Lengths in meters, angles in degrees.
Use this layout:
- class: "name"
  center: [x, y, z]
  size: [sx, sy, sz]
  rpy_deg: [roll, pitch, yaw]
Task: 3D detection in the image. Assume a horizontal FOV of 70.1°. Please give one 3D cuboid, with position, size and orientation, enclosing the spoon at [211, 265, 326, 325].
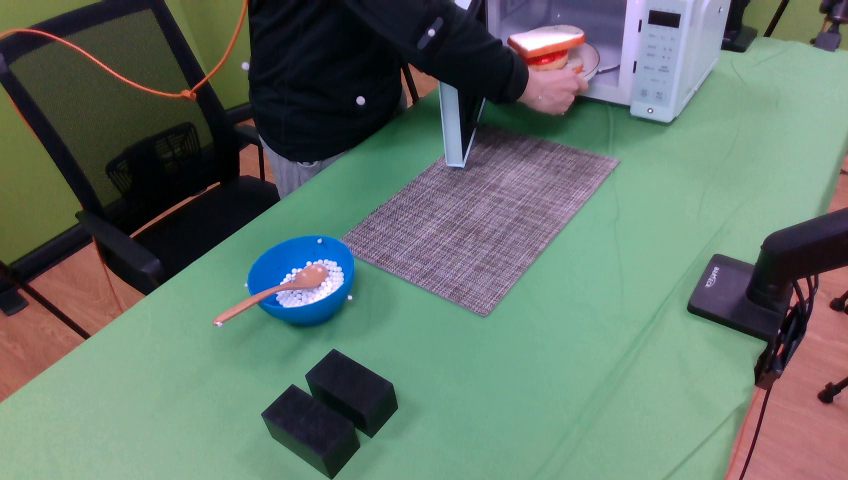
- class: "spoon"
  center: [-0.208, 0.072, 0.822]
  size: [0.041, 0.021, 0.195]
  rpy_deg: [28, 29, 26]

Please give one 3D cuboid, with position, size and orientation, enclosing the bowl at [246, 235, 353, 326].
- class: "bowl"
  center: [-0.170, 0.070, 0.868]
  size: [0.151, 0.077, 0.150]
  rpy_deg: [-4, 41, 4]

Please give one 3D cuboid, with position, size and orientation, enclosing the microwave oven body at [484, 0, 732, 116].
- class: "microwave oven body"
  center: [0.377, -0.463, 1.267]
  size: [0.438, 0.261, 0.327]
  rpy_deg: [21, 49, 30]

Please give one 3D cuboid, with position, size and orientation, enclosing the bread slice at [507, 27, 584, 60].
- class: "bread slice"
  center: [0.235, -0.378, 1.151]
  size: [0.132, 0.019, 0.104]
  rpy_deg: [-16, 36, -10]

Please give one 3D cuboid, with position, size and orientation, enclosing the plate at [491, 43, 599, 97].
- class: "plate"
  center: [0.236, -0.335, 1.189]
  size: [0.207, 0.039, 0.206]
  rpy_deg: [-5, 42, 5]

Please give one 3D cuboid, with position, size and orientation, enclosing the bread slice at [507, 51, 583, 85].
- class: "bread slice"
  center: [0.241, -0.343, 1.186]
  size: [0.135, 0.018, 0.106]
  rpy_deg: [-16, 45, -15]

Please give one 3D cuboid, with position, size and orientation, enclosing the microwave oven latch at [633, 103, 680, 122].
- class: "microwave oven latch"
  center: [0.443, -0.249, 1.157]
  size: [0.078, 0.029, 0.030]
  rpy_deg: [21, 49, 30]

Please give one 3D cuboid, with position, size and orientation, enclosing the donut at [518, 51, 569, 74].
- class: "donut"
  center: [0.230, -0.356, 1.165]
  size: [0.099, 0.048, 0.098]
  rpy_deg: [-4, 56, 6]

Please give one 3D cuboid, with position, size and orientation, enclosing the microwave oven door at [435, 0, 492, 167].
- class: "microwave oven door"
  center: [0.083, -0.340, 1.159]
  size: [0.039, 0.245, 0.355]
  rpy_deg: [4, 42, 14]
